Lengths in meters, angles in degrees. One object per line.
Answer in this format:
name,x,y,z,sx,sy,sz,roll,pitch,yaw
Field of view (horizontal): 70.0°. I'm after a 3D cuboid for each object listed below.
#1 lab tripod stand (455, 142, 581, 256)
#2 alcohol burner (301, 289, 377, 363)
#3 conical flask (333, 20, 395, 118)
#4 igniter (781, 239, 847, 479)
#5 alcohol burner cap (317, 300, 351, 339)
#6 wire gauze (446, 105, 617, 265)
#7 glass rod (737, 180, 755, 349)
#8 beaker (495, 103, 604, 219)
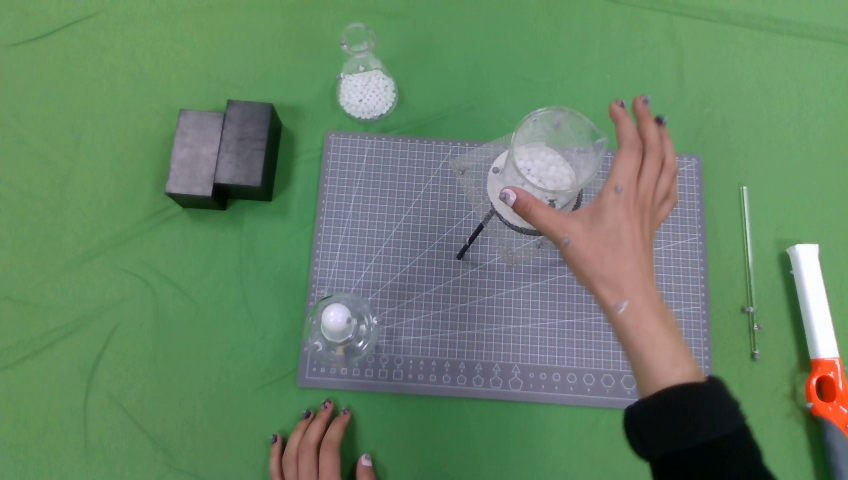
lab tripod stand,0.101,-0.033,0.635,0.148,0.132,0.147,0,78,-1
alcohol burner,-0.087,0.084,0.612,0.078,0.119,0.077,1,74,-2
conical flask,-0.071,-0.195,0.679,0.075,0.122,0.075,0,75,-1
igniter,0.432,0.134,0.659,0.057,0.025,0.275,0,76,-12
alcohol burner cap,-0.086,0.073,0.577,0.034,0.048,0.033,3,68,-7
wire gauze,0.102,-0.053,0.572,0.125,0.011,0.121,-25,81,-8
glass rod,0.369,0.024,0.695,0.008,0.008,0.198,4,76,-1
beaker,0.104,-0.064,0.525,0.084,0.100,0.073,-16,78,-5
